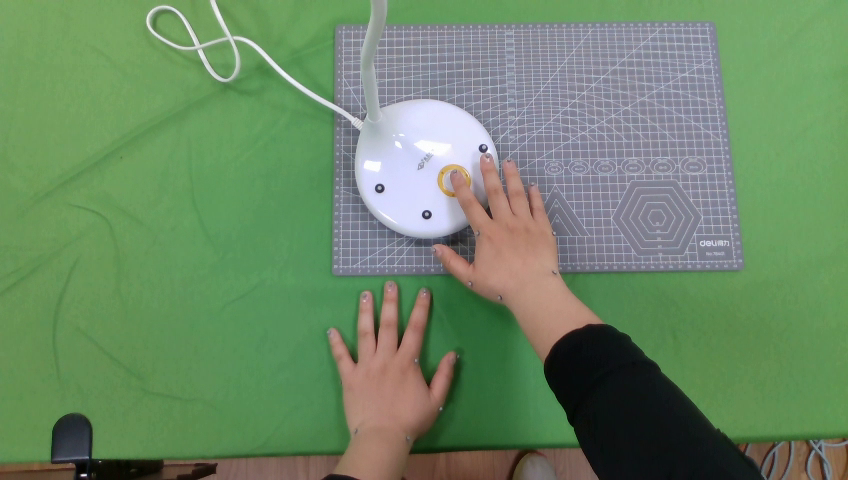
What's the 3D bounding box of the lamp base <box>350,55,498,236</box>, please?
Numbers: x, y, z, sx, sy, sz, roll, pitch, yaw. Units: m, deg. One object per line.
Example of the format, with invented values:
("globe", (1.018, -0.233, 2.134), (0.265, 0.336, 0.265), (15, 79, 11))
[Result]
("lamp base", (-0.011, -0.104, 0.596), (0.179, 0.181, 0.160), (26, 79, 8))
